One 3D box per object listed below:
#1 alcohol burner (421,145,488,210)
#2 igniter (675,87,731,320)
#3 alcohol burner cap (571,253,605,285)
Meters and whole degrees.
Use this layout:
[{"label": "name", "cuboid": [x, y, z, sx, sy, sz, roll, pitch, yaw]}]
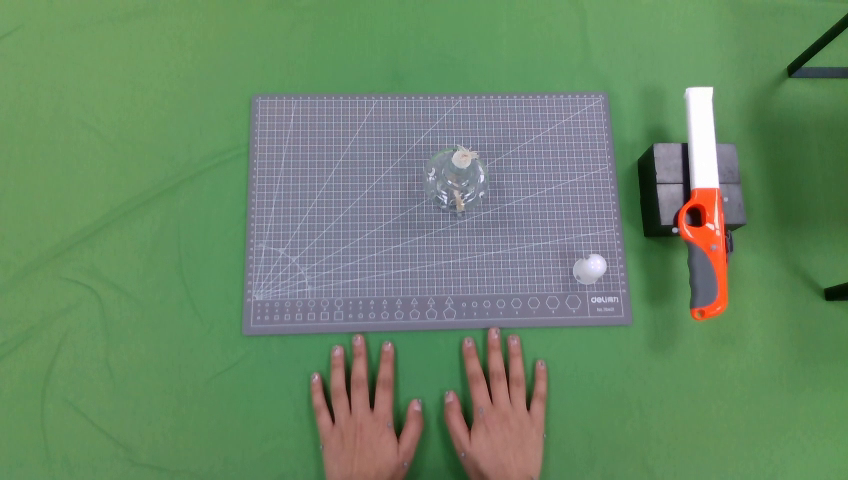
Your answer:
[{"label": "alcohol burner", "cuboid": [0.037, -0.076, 0.684, 0.078, 0.119, 0.077, 1, 76, -4]}, {"label": "igniter", "cuboid": [0.315, -0.046, 0.690, 0.057, 0.025, 0.275, 1, 76, 10]}, {"label": "alcohol burner cap", "cuboid": [0.192, 0.032, 0.702, 0.034, 0.048, 0.033, 1, 75, -2]}]
